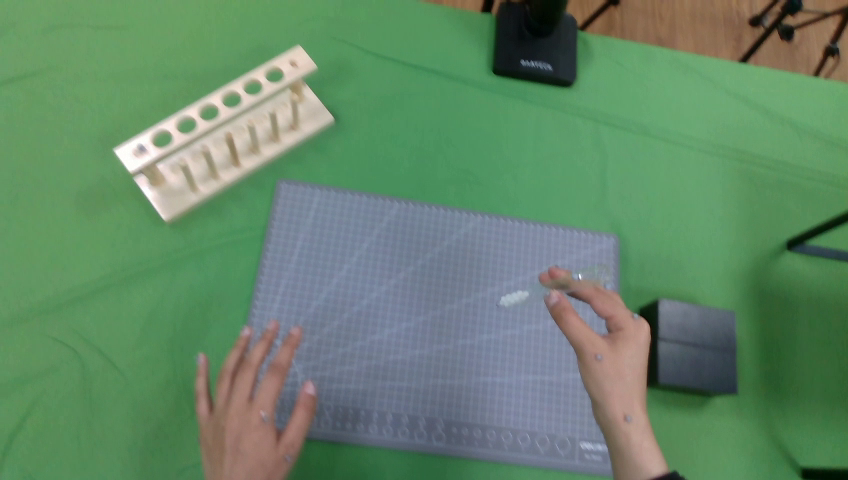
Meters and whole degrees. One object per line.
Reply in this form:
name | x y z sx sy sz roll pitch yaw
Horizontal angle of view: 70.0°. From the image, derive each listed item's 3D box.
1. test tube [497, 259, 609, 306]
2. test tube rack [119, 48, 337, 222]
test tube | 0.110 0.041 0.546 0.017 0.150 0.017 8 72 -25
test tube rack | -0.222 -0.126 0.725 0.242 0.085 0.066 -36 80 -18
